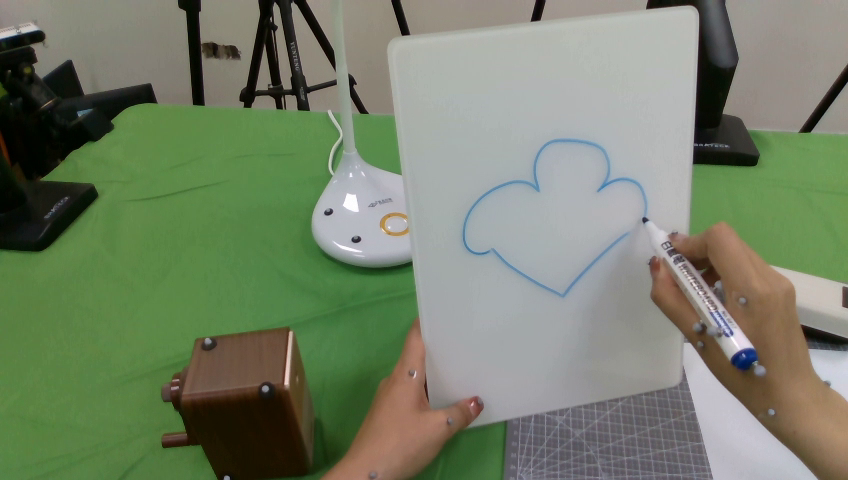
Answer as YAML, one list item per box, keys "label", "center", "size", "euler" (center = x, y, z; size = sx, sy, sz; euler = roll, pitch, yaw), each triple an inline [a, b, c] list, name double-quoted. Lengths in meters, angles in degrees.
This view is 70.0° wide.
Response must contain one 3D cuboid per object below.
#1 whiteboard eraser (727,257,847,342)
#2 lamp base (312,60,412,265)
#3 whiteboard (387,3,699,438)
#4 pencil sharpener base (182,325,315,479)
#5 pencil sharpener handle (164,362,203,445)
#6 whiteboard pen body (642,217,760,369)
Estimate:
- label: "whiteboard eraser"
  center: [0.344, 0.055, 0.560]
  size: [0.112, 0.042, 0.055]
  euler: [17, 44, 23]
- label: "lamp base"
  center: [-0.059, -0.091, 0.655]
  size: [0.161, 0.182, 0.177]
  euler: [-28, 43, -28]
- label: "whiteboard"
  center: [0.088, -0.023, 0.510]
  size: [0.217, 0.307, 0.142]
  euler: [-9, 20, -7]
- label: "pencil sharpener base"
  center: [-0.127, 0.123, 0.451]
  size: [0.077, 0.108, 0.060]
  euler: [-6, 40, -4]
- label: "pencil sharpener handle"
  center: [-0.178, 0.120, 0.436]
  size: [0.031, 0.068, 0.035]
  euler: [-6, 27, -4]
- label: "whiteboard pen body"
  center: [0.177, 0.028, 0.403]
  size: [0.017, 0.017, 0.139]
  euler: [-8, 41, -6]
